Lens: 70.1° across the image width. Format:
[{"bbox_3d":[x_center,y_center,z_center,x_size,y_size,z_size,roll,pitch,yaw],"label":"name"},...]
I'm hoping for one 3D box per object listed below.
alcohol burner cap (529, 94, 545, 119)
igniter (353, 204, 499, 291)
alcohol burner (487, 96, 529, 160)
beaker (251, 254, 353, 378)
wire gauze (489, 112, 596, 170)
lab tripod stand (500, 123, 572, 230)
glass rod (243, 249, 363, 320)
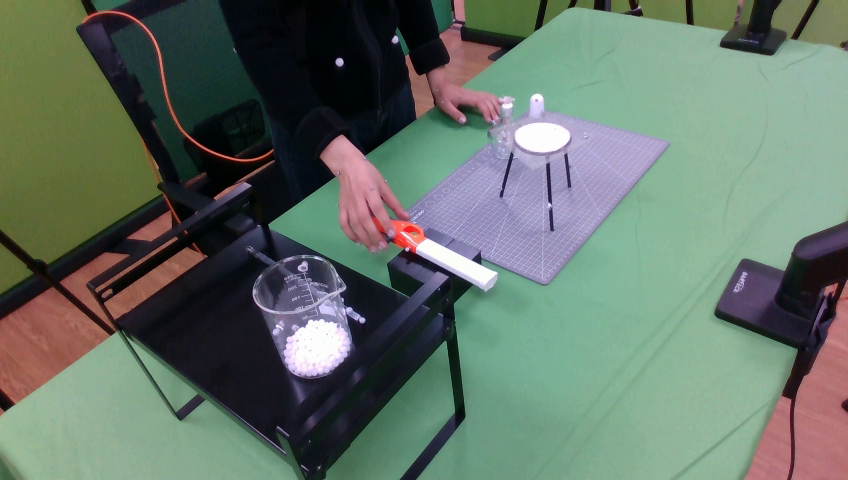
[{"bbox_3d":[0.233,-0.277,1.247,0.034,0.048,0.033,-5,41,5],"label":"alcohol burner cap"},{"bbox_3d":[-0.009,0.005,0.895,0.274,0.025,0.057,27,46,33],"label":"igniter"},{"bbox_3d":[0.155,-0.211,1.126,0.078,0.119,0.077,-6,40,5],"label":"alcohol burner"},{"bbox_3d":[-0.106,0.074,0.565,0.084,0.101,0.073,-1,41,8],"label":"beaker"},{"bbox_3d":[0.183,-0.161,0.942,0.122,0.011,0.124,-24,44,-18],"label":"wire gauze"},{"bbox_3d":[0.194,-0.110,0.985,0.148,0.132,0.147,-3,41,3],"label":"lab tripod stand"},{"bbox_3d":[-0.141,0.046,0.674,0.198,0.008,0.008,24,49,32],"label":"glass rod"}]
